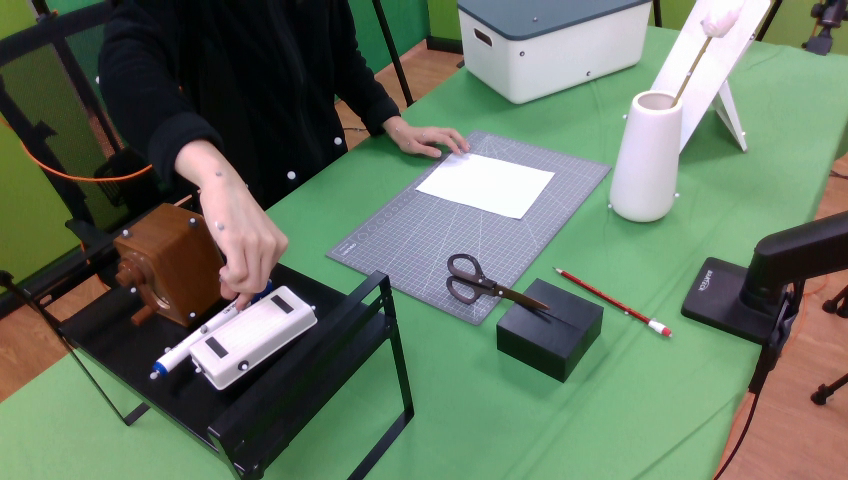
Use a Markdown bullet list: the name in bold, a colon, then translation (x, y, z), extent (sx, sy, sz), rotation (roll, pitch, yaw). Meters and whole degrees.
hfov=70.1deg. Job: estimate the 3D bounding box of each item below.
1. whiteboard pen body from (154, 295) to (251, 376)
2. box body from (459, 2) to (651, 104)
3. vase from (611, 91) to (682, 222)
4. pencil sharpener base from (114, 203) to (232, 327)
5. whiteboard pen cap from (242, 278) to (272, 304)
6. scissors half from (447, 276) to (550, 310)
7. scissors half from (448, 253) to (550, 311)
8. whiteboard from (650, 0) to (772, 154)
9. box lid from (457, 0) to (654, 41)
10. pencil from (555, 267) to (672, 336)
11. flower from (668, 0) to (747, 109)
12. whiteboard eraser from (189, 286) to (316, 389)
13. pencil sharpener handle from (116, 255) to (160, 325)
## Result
- **whiteboard pen body**: translation (-0.215, 0.088, 0.619), extent (0.017, 0.017, 0.141), rotation (19, 43, 28)
- **box body**: translation (0.291, -0.465, 1.371), extent (0.365, 0.161, 0.252), rotation (-22, 42, -16)
- **vase**: translation (0.348, -0.125, 0.935), extent (0.098, 0.201, 0.097), rotation (-3, 40, 3)
- **pencil sharpener base**: translation (-0.262, 0.029, 0.636), extent (0.061, 0.107, 0.077), rotation (18, 47, 26)
- **whiteboard pen cap**: translation (-0.183, 0.057, 0.658), extent (0.018, 0.018, 0.033), rotation (19, 43, 27)
- **scissors half**: translation (0.098, 0.077, 0.827), extent (0.174, 0.040, 0.013), rotation (6, 15, 45)
- **scissors half**: translation (0.098, 0.058, 0.821), extent (0.173, 0.040, 0.013), rotation (27, 34, 37)
- **whiteboard**: translation (0.543, -0.298, 1.076), extent (0.144, 0.305, 0.216), rotation (12, 40, -7)
- **box lid**: translation (0.285, -0.522, 1.323), extent (0.373, 0.015, 0.261), rotation (-22, 43, -16)
- **pencil**: translation (0.260, 0.082, 0.850), extent (0.012, 0.012, 0.192), rotation (-33, 46, -27)
- **flower**: translation (0.354, -0.187, 0.879), extent (0.038, 0.362, 0.044), rotation (31, 48, 15)
- **whiteboard eraser**: translation (-0.166, 0.096, 0.593), extent (0.113, 0.042, 0.055), rotation (-36, 47, -29)
- **pencil sharpener handle**: translation (-0.286, 0.050, 0.594), extent (0.035, 0.068, 0.031), rotation (7, 41, 35)
